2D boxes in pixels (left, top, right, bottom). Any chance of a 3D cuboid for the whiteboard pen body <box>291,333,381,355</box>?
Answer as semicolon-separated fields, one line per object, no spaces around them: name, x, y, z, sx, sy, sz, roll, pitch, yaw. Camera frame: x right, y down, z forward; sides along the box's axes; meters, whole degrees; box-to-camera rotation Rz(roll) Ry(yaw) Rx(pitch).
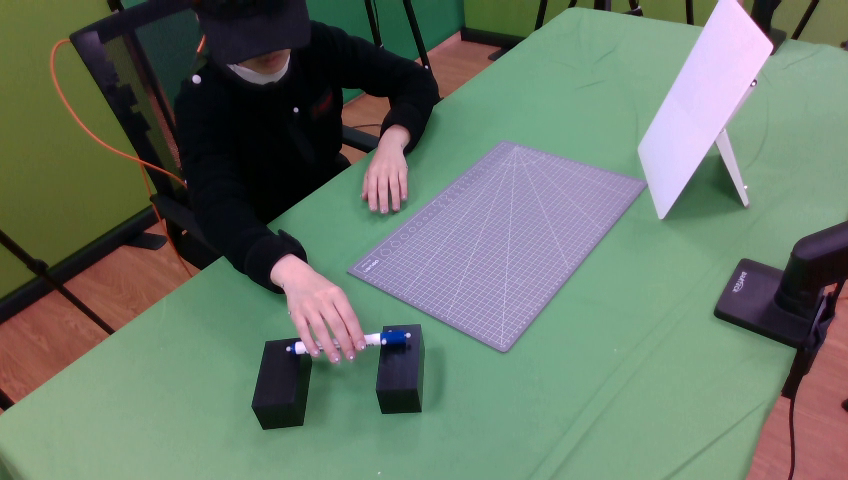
whiteboard pen body;-0.097;0.130;0.762;0.141;0.017;0.017;-6;40;0

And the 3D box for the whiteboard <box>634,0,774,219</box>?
whiteboard;0.485;-0.192;0.957;0.144;0.305;0.216;14;41;-4

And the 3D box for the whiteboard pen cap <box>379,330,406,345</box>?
whiteboard pen cap;-0.040;0.123;0.760;0.033;0.018;0.018;-6;40;2
